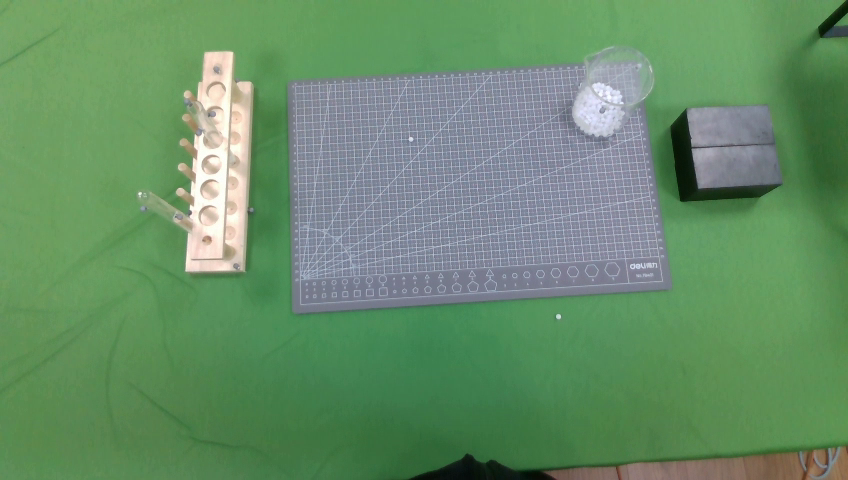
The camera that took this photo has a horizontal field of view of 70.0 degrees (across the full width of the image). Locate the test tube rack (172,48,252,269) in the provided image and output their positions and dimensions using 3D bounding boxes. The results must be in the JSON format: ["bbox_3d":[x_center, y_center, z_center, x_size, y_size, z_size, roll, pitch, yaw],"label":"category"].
[{"bbox_3d":[-0.250,-0.092,0.708,0.067,0.085,0.241,-1,78,0],"label":"test tube rack"}]

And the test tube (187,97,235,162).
[{"bbox_3d":[-0.230,-0.116,0.662,0.017,0.150,0.017,1,77,-5],"label":"test tube"}]

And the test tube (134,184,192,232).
[{"bbox_3d":[-0.268,-0.030,0.648,0.017,0.151,0.017,0,76,1],"label":"test tube"}]

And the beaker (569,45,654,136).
[{"bbox_3d":[0.214,-0.174,0.719,0.084,0.101,0.074,33,79,8],"label":"beaker"}]
